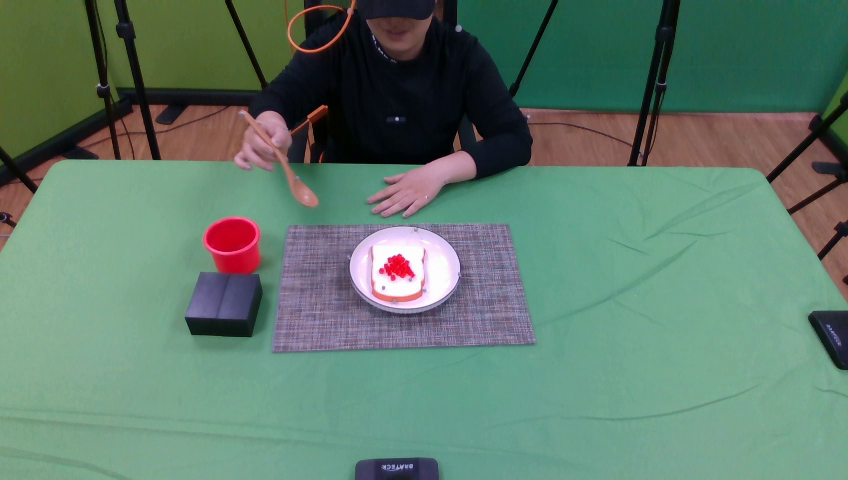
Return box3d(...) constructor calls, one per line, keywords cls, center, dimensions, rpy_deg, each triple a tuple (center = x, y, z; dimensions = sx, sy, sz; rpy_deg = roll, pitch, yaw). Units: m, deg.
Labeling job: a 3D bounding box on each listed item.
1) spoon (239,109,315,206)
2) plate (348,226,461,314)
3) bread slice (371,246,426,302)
box3d(cls="spoon", center=(-0.243, -0.136, 1.008), dimensions=(0.021, 0.194, 0.041), rpy_deg=(-19, 22, 31))
box3d(cls="plate", center=(-0.035, 0.058, 1.123), dimensions=(0.209, 0.038, 0.208), rpy_deg=(2, 46, -2))
box3d(cls="bread slice", center=(-0.047, 0.060, 1.123), dimensions=(0.105, 0.019, 0.130), rpy_deg=(0, 45, -3))
